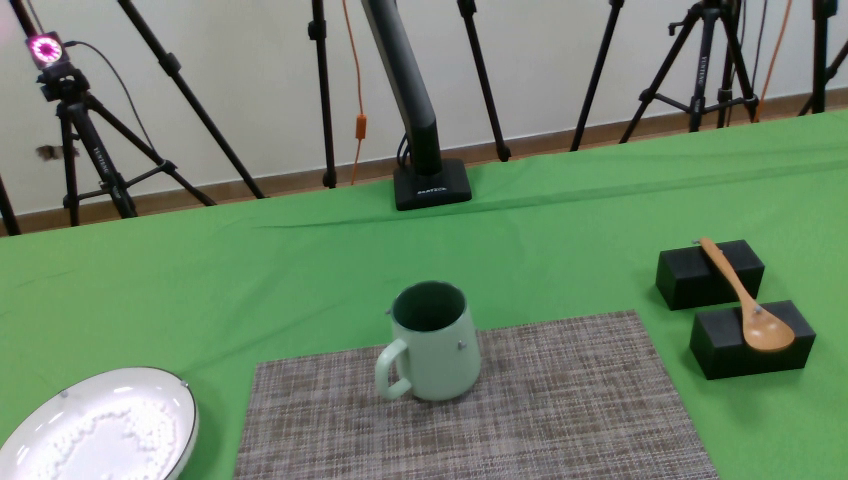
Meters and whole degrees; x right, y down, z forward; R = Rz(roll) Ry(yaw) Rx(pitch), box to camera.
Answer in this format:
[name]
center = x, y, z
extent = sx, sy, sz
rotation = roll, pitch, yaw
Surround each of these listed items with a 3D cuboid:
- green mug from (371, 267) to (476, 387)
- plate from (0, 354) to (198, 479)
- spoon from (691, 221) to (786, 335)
[green mug]
center = -0.005, 0.102, 0.630
extent = 0.091, 0.106, 0.125
rotation = 27, 51, 36
[plate]
center = -0.334, 0.208, 0.624
extent = 0.209, 0.038, 0.207
rotation = -5, 38, 5
[spoon]
center = 0.323, 0.033, 0.640
extent = 0.041, 0.022, 0.192
rotation = -20, 36, 14
